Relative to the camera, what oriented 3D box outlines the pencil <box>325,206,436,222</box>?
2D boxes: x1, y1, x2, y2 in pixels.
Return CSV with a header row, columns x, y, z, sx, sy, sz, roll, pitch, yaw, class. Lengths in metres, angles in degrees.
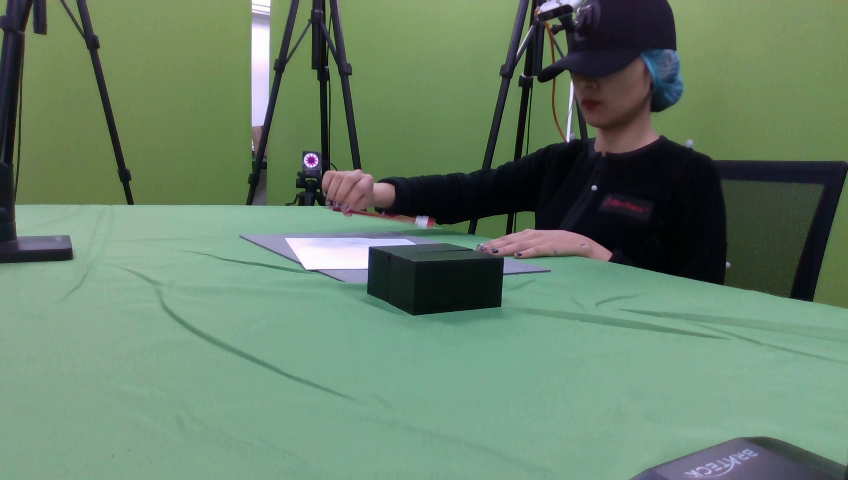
x,y,z,sx,sy,sz,roll,pitch,yaw,class
-0.073,-0.043,0.975,0.193,0.012,0.012,7,8,18,pencil
